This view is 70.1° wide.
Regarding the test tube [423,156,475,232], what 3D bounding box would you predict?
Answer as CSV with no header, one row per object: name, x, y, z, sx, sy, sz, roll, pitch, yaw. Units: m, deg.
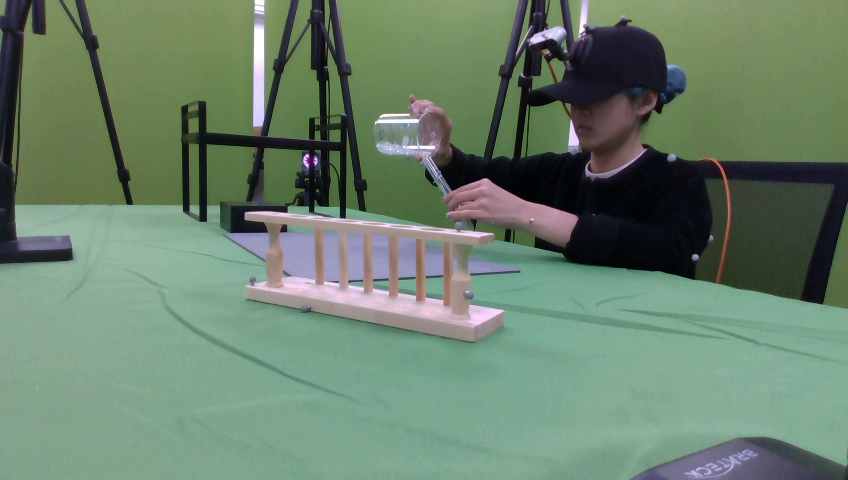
test tube,0.042,-0.076,0.997,0.017,0.150,0.017,-30,-14,-8

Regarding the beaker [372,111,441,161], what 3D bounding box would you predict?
beaker,-0.032,-0.178,1.036,0.100,0.084,0.074,6,4,33

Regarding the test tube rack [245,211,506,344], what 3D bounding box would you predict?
test tube rack,-0.049,0.025,0.547,0.241,0.085,0.067,7,8,28
